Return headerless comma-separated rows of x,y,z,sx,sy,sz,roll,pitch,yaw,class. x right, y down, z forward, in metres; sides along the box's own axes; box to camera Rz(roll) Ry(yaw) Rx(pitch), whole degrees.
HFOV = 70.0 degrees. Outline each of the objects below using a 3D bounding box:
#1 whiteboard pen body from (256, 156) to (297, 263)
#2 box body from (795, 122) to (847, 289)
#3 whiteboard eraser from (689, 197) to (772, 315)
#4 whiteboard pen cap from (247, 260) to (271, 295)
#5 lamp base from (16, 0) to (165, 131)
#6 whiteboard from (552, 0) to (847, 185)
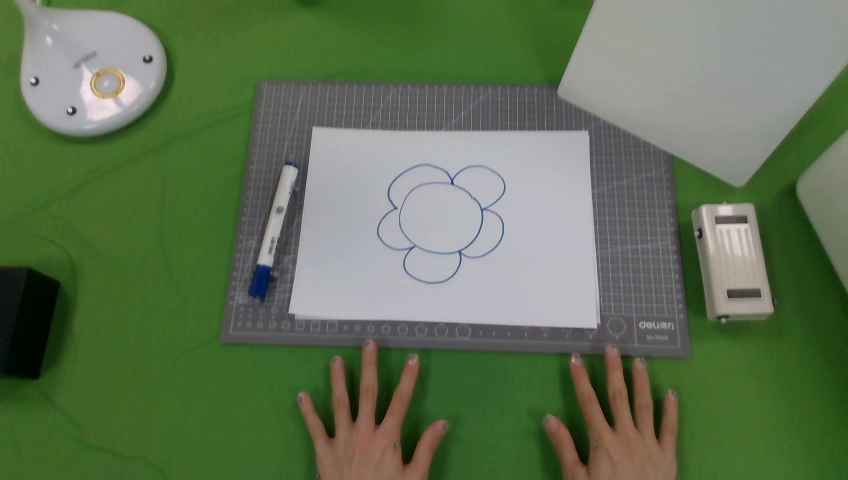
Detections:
-0.152,-0.019,0.613,0.017,0.017,0.140,9,74,6,whiteboard pen body
0.526,0.029,0.506,0.254,0.161,0.361,-16,72,-4,box body
0.292,0.015,0.581,0.055,0.042,0.112,-1,72,0,whiteboard eraser
-0.162,0.037,0.598,0.018,0.018,0.033,9,74,5,whiteboard pen cap
-0.384,-0.226,0.608,0.178,0.181,0.160,34,75,15,lamp base
0.290,-0.241,0.559,0.216,0.307,0.143,32,55,12,whiteboard
